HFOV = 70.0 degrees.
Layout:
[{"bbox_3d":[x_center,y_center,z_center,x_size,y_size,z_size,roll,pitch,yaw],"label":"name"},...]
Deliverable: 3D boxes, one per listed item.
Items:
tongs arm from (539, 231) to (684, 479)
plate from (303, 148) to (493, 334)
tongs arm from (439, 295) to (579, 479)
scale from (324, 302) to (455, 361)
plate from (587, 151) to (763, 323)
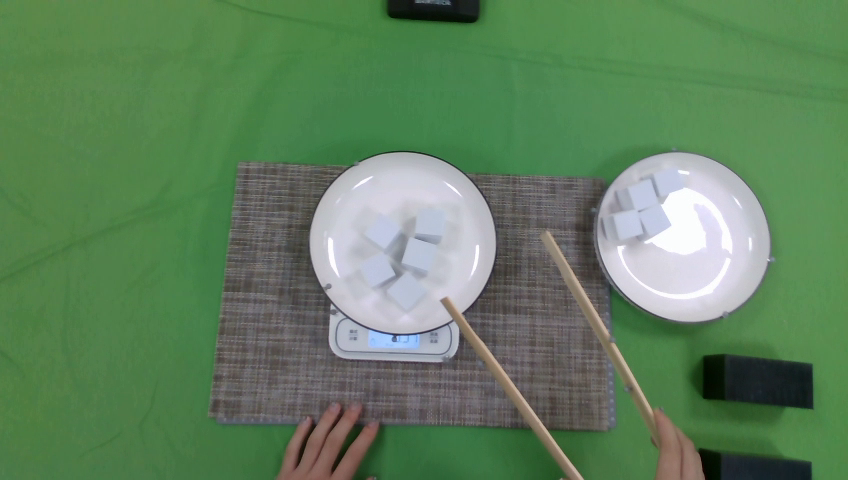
[{"bbox_3d":[0.190,0.170,0.571,0.051,0.026,0.384,-29,88,-16],"label":"tongs arm"},{"bbox_3d":[-0.028,0.001,0.675,0.209,0.038,0.208,1,78,-3],"label":"plate"},{"bbox_3d":[0.136,0.203,0.554,0.028,0.028,0.387,-38,90,-20],"label":"tongs arm"},{"bbox_3d":[-0.036,0.036,0.701,0.149,0.031,0.200,3,78,-2],"label":"scale"},{"bbox_3d":[0.295,-0.003,0.725,0.208,0.039,0.206,1,78,-2],"label":"plate"}]
